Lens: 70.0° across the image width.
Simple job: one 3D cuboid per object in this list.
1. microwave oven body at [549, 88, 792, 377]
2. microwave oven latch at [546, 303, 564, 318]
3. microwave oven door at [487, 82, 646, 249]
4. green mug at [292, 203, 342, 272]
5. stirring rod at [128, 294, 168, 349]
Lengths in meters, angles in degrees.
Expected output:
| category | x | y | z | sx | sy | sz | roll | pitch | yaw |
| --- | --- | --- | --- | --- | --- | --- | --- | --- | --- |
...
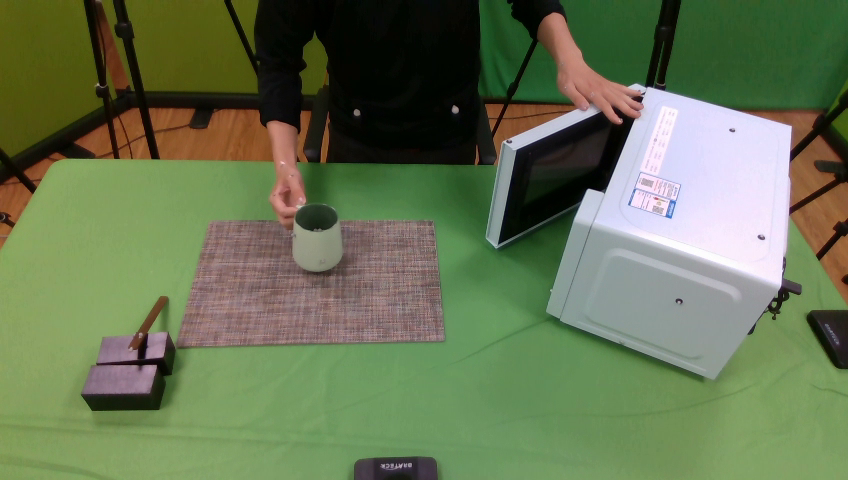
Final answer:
| category | x | y | z | sx | sy | sz | roll | pitch | yaw |
| --- | --- | --- | --- | --- | --- | --- | --- | --- | --- |
| microwave oven body | 0.456 | -0.028 | 1.088 | 0.325 | 0.261 | 0.440 | 20 | 47 | 16 |
| microwave oven latch | 0.242 | 0.102 | 1.081 | 0.030 | 0.029 | 0.079 | 21 | 48 | 17 |
| microwave oven door | 0.280 | -0.148 | 1.182 | 0.356 | 0.245 | 0.039 | -27 | 52 | -26 |
| green mug | -0.206 | -0.014 | 1.113 | 0.092 | 0.105 | 0.124 | -24 | 51 | -28 |
| stirring rod | -0.451 | 0.131 | 0.996 | 0.014 | 0.006 | 0.175 | 9 | 20 | -10 |
